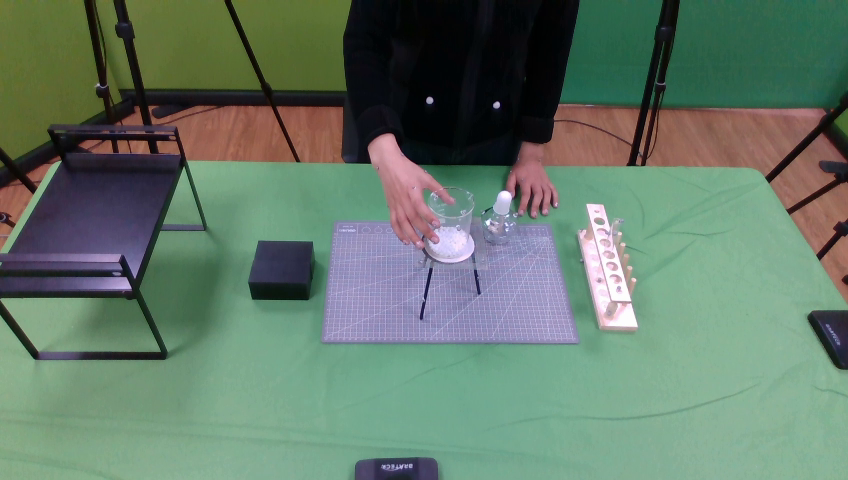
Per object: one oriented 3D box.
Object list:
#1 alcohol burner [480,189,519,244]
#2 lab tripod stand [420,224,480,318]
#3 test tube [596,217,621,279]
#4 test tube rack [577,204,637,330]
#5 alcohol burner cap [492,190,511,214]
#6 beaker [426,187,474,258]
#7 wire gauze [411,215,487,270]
[{"bbox_3d":[0.150,-0.051,1.192,0.078,0.120,0.077,1,46,0],"label":"alcohol burner"},{"bbox_3d":[0.034,0.051,1.071,0.148,0.132,0.147,3,48,-3],"label":"lab tripod stand"},{"bbox_3d":[0.331,0.018,1.094,0.017,0.151,0.017,0,45,0],"label":"test tube"},{"bbox_3d":[0.348,0.045,1.139,0.067,0.085,0.241,2,46,-2],"label":"test tube rack"},{"bbox_3d":[0.151,-0.076,1.165,0.034,0.048,0.033,5,50,-6],"label":"alcohol burner cap"},{"bbox_3d":[0.043,-0.027,0.989,0.084,0.101,0.073,-27,53,-26],"label":"beaker"},{"bbox_3d":[0.041,0.003,1.026,0.125,0.011,0.120,0,46,-1],"label":"wire gauze"}]
